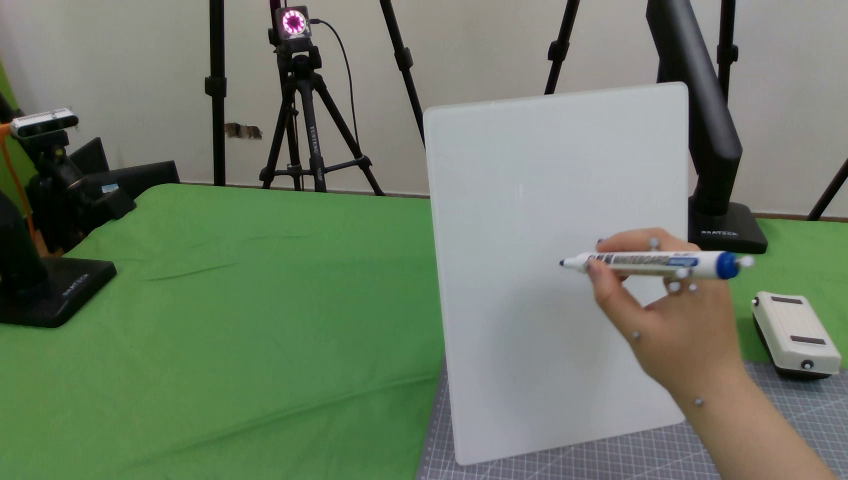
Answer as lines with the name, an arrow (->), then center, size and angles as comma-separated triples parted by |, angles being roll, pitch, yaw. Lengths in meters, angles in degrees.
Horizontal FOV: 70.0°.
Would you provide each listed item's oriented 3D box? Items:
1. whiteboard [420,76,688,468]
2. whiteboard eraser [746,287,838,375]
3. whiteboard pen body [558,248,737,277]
whiteboard -> 0.106, 0.018, 0.561 | 0.217, 0.306, 0.143 | -8, 14, -8
whiteboard eraser -> 0.374, 0.093, 0.624 | 0.055, 0.042, 0.112 | 4, 29, 12
whiteboard pen body -> 0.132, 0.013, 0.386 | 0.017, 0.017, 0.140 | -20, 8, -26
